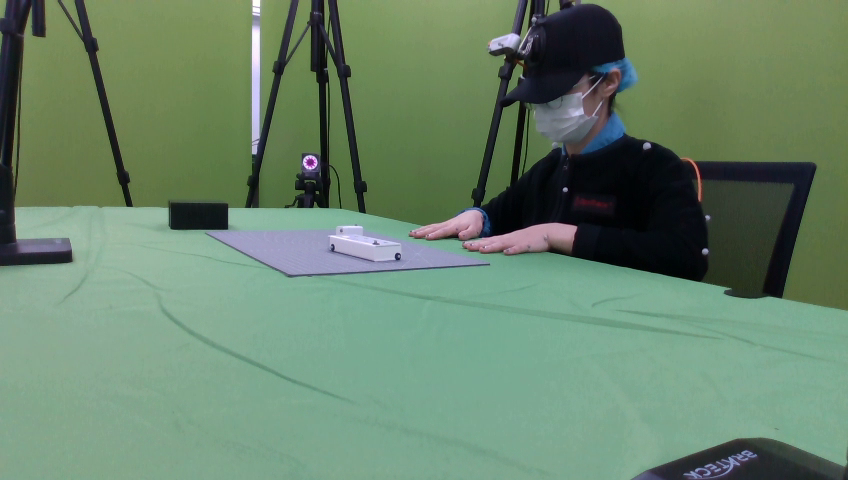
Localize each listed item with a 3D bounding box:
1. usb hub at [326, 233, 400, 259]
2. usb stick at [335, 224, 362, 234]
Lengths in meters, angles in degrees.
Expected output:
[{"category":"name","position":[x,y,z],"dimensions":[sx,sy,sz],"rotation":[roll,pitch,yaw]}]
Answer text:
[{"category":"usb hub","position":[-0.092,0.008,0.892],"dimensions":[0.050,0.025,0.124],"rotation":[-5,9,-40]},{"category":"usb stick","position":[-0.135,-0.013,1.040],"dimensions":[0.021,0.027,0.059],"rotation":[11,14,42]}]
